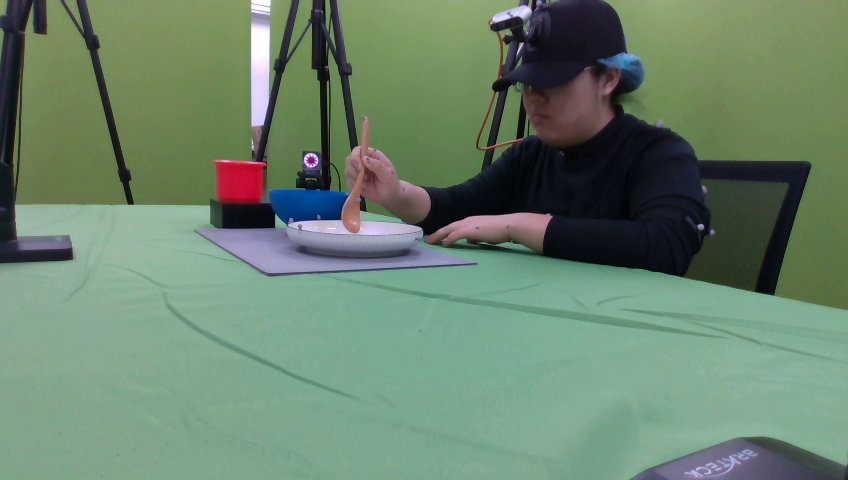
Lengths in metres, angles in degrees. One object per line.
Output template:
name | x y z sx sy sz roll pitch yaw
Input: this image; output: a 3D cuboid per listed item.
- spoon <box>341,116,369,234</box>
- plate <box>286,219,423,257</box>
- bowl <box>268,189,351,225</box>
spoon | -0.102 -0.104 0.955 0.021 0.193 0.042 2 -12 41
plate | -0.105 -0.003 0.922 0.208 0.039 0.207 3 7 0
bowl | -0.201 -0.048 1.079 0.151 0.077 0.151 2 7 0
